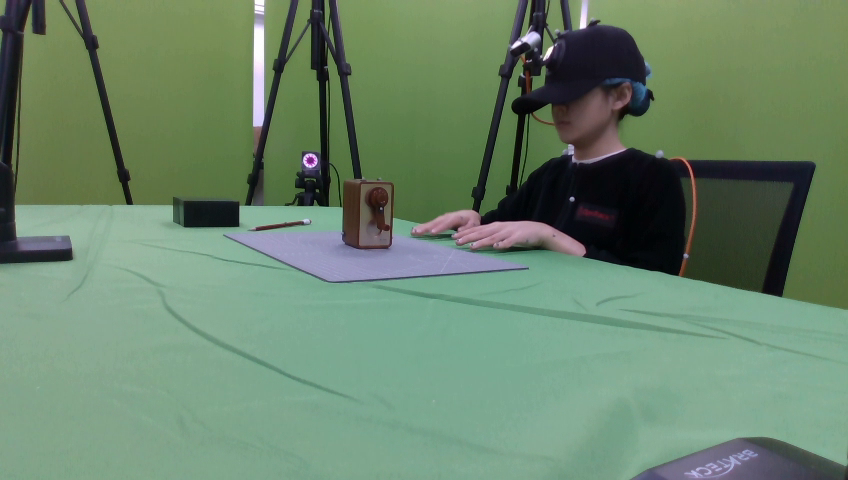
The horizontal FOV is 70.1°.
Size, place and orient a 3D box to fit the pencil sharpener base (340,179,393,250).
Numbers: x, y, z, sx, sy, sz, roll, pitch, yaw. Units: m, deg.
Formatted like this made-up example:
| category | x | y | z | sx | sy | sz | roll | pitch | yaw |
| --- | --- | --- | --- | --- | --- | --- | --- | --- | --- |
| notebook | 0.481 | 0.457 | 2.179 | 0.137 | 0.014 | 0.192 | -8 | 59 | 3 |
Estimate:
| category | x | y | z | sx | sy | sz | roll | pitch | yaw |
| --- | --- | --- | --- | --- | --- | --- | --- | --- | --- |
| pencil sharpener base | -0.091 | -0.041 | 0.960 | 0.061 | 0.107 | 0.076 | -1 | 9 | -28 |

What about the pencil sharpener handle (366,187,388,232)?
| category | x | y | z | sx | sy | sz | roll | pitch | yaw |
| --- | --- | --- | --- | --- | --- | --- | --- | --- | --- |
| pencil sharpener handle | -0.065 | -0.046 | 0.915 | 0.036 | 0.067 | 0.030 | -8 | 12 | -27 |

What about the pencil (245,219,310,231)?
| category | x | y | z | sx | sy | sz | roll | pitch | yaw |
| --- | --- | --- | --- | --- | --- | --- | --- | --- | --- |
| pencil | -0.285 | -0.029 | 1.191 | 0.012 | 0.012 | 0.195 | 7 | 9 | 25 |
